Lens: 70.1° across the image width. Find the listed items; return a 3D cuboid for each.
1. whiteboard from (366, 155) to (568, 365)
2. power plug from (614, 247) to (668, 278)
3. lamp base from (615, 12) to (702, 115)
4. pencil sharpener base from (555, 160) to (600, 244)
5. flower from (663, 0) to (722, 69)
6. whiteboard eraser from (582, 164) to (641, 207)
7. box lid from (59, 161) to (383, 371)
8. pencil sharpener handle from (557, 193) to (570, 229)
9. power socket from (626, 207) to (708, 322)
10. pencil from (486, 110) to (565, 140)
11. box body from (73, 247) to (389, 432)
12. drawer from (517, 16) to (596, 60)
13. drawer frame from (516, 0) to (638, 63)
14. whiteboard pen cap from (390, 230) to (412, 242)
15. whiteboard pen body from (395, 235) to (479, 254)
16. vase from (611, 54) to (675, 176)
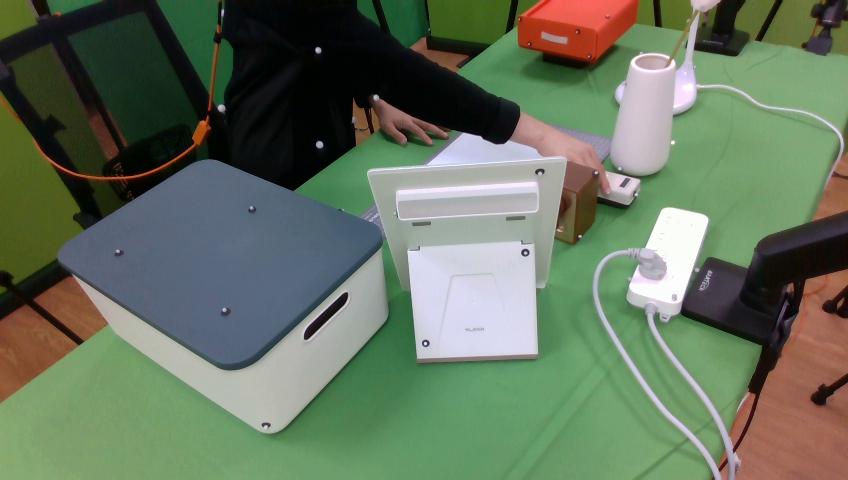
[{"bbox_3d":[0.059,0.050,0.738,0.217,0.307,0.143,-3,60,5],"label":"whiteboard"},{"bbox_3d":[0.306,0.031,0.851,0.072,0.053,0.035,24,49,33],"label":"power plug"},{"bbox_3d":[0.484,-0.363,1.211,0.180,0.181,0.159,-15,41,-14],"label":"lamp base"},{"bbox_3d":[0.228,-0.057,0.945,0.061,0.107,0.077,24,50,31],"label":"pencil sharpener base"},{"bbox_3d":[0.379,-0.261,0.965,0.044,0.362,0.038,21,53,5],"label":"flower"},{"bbox_3d":[0.304,-0.091,1.025,0.112,0.042,0.056,21,49,28],"label":"whiteboard eraser"},{"bbox_3d":[-0.262,0.010,0.777,0.369,0.015,0.264,21,48,29],"label":"box lid"},{"bbox_3d":[0.195,-0.038,0.908,0.035,0.068,0.031,24,50,31],"label":"pencil sharpener handle"},{"bbox_3d":[0.359,0.026,0.886,0.072,0.033,0.227,16,46,26],"label":"power socket"},{"bbox_3d":[0.204,-0.233,1.225,0.192,0.012,0.012,29,52,33],"label":"pencil"},{"bbox_3d":[-0.255,0.065,0.827,0.361,0.161,0.255,21,48,29],"label":"box body"},{"bbox_3d":[0.352,-0.506,1.405,0.193,0.073,0.212,23,49,32],"label":"drawer"},{"bbox_3d":[0.355,-0.508,1.411,0.200,0.083,0.214,23,51,32],"label":"drawer frame"},{"bbox_3d":[-0.036,-0.006,0.980,0.033,0.018,0.018,9,43,17],"label":"whiteboard pen cap"},{"bbox_3d":[0.019,0.005,0.963,0.140,0.017,0.017,9,43,17],"label":"whiteboard pen body"},{"bbox_3d":[0.377,-0.209,1.031,0.098,0.201,0.097,-3,40,3],"label":"vase"}]
